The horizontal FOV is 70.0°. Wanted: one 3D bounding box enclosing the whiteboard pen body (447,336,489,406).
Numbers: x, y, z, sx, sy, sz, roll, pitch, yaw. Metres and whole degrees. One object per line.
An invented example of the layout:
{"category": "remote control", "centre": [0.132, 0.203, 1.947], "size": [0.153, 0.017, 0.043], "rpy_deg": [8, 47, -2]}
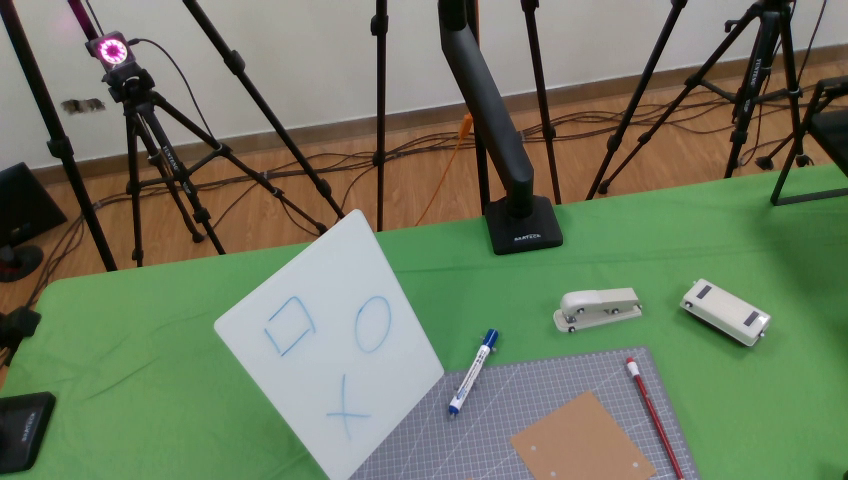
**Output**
{"category": "whiteboard pen body", "centre": [0.070, 0.178, 0.877], "size": [0.017, 0.017, 0.140], "rpy_deg": [18, 53, 23]}

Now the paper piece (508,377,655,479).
{"category": "paper piece", "centre": [0.201, 0.265, 0.788], "size": [0.136, 0.009, 0.136], "rpy_deg": [-28, 52, -11]}

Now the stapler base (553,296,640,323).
{"category": "stapler base", "centre": [0.263, 0.094, 0.924], "size": [0.131, 0.024, 0.041], "rpy_deg": [-12, 51, -5]}

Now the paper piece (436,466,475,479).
{"category": "paper piece", "centre": [0.020, 0.358, 0.730], "size": [0.135, 0.004, 0.134], "rpy_deg": [-19, 49, -10]}

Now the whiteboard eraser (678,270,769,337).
{"category": "whiteboard eraser", "centre": [0.436, 0.093, 0.887], "size": [0.055, 0.042, 0.111], "rpy_deg": [-40, 55, -23]}

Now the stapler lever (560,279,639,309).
{"category": "stapler lever", "centre": [0.262, 0.077, 0.906], "size": [0.118, 0.040, 0.026], "rpy_deg": [-12, 51, -4]}

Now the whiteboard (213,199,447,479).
{"category": "whiteboard", "centre": [-0.137, 0.119, 0.808], "size": [0.217, 0.308, 0.142], "rpy_deg": [-42, 35, -25]}

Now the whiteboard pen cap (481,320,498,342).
{"category": "whiteboard pen cap", "centre": [0.098, 0.138, 0.908], "size": [0.018, 0.018, 0.033], "rpy_deg": [16, 53, 21]}

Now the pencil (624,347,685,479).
{"category": "pencil", "centre": [0.305, 0.227, 0.805], "size": [0.012, 0.012, 0.192], "rpy_deg": [-11, 50, -2]}
